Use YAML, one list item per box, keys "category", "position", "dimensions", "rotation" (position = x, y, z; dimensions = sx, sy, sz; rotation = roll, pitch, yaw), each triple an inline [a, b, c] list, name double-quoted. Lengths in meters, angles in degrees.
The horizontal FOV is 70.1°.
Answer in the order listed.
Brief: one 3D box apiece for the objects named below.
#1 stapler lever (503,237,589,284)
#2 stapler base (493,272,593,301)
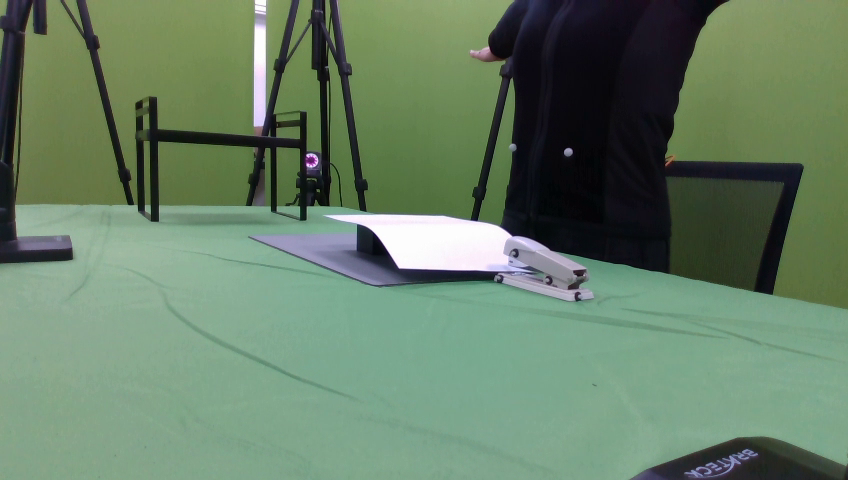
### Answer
- category: "stapler lever"
  position: [0.137, 0.022, 0.693]
  dimensions: [0.027, 0.040, 0.117]
  rotation: [-2, 9, -35]
- category: "stapler base"
  position: [0.133, 0.046, 0.696]
  dimensions: [0.041, 0.024, 0.130]
  rotation: [-2, 9, -35]
